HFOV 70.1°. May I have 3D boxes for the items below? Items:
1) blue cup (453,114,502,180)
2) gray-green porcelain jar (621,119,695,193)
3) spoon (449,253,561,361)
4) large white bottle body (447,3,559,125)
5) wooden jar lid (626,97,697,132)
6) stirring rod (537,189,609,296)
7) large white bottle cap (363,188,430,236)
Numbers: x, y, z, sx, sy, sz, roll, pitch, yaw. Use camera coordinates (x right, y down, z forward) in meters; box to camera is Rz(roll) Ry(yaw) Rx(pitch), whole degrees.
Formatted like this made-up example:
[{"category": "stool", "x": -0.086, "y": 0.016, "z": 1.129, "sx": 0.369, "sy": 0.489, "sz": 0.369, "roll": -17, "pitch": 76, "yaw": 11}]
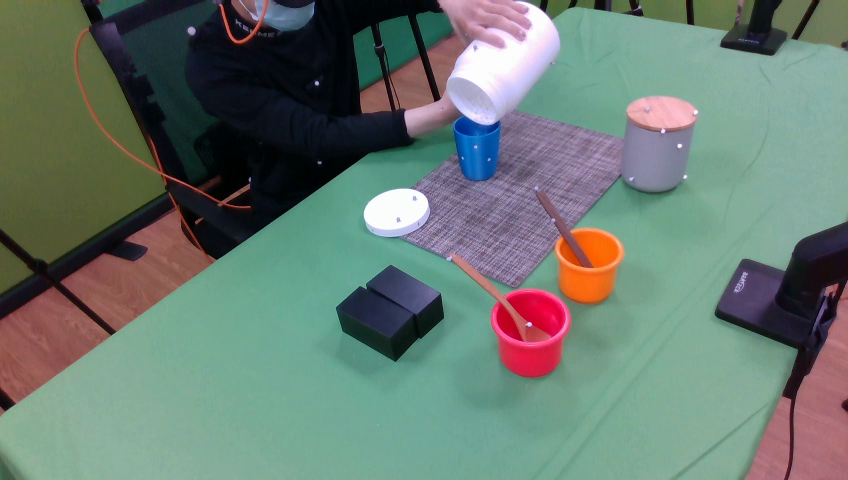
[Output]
[{"category": "blue cup", "x": 0.097, "y": -0.165, "z": 1.088, "sx": 0.092, "sy": 0.100, "sz": 0.092, "roll": -3, "pitch": 41, "yaw": 3}, {"category": "gray-green porcelain jar", "x": 0.389, "y": -0.152, "z": 1.016, "sx": 0.106, "sy": 0.127, "sz": 0.105, "roll": -4, "pitch": 40, "yaw": 4}, {"category": "spoon", "x": 0.103, "y": 0.083, "z": 0.770, "sx": 0.194, "sy": 0.021, "sz": 0.042, "roll": 47, "pitch": 51, "yaw": -7}, {"category": "large white bottle body", "x": 0.134, "y": -0.302, "z": 1.049, "sx": 0.129, "sy": 0.131, "sz": 0.185, "roll": 27, "pitch": 70, "yaw": 34}, {"category": "wooden jar lid", "x": 0.382, "y": -0.198, "z": 0.976, "sx": 0.108, "sy": 0.021, "sz": 0.108, "roll": -2, "pitch": 40, "yaw": 3}, {"category": "stirring rod", "x": 0.211, "y": 0.003, "z": 0.855, "sx": 0.014, "sy": 0.006, "sz": 0.176, "roll": -32, "pitch": 88, "yaw": -30}, {"category": "large white bottle cap", "x": -0.048, "y": -0.050, "z": 1.040, "sx": 0.115, "sy": 0.018, "sz": 0.114, "roll": -7, "pitch": 41, "yaw": 6}]
